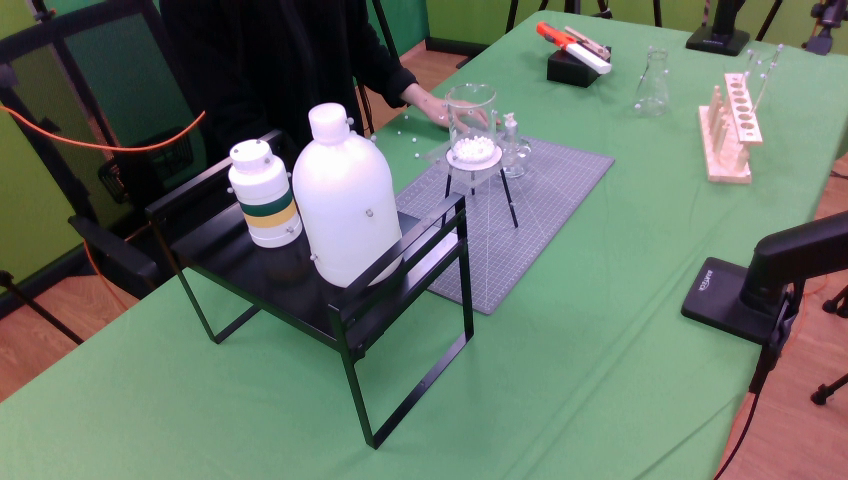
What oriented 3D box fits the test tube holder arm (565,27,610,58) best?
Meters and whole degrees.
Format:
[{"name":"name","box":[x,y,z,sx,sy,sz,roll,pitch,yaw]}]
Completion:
[{"name":"test tube holder arm","box":[0.369,-0.450,1.373,0.013,0.015,0.177,-39,41,10]}]

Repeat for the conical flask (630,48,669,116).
[{"name":"conical flask","box":[0.456,-0.317,1.205,0.075,0.122,0.075,-4,41,4]}]

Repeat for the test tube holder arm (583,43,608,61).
[{"name":"test tube holder arm","box":[0.379,-0.420,1.341,0.010,0.015,0.087,-39,41,10]}]

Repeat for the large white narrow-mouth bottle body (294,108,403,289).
[{"name":"large white narrow-mouth bottle body","box":[-0.082,-0.047,0.634,0.102,0.195,0.101,-4,40,3]}]

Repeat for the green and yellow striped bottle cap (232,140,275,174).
[{"name":"green and yellow striped bottle cap","box":[-0.192,-0.094,0.680,0.045,0.020,0.045,-5,39,5]}]

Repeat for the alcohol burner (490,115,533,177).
[{"name":"alcohol burner","box":[0.157,-0.173,1.083,0.078,0.119,0.077,-4,43,4]}]

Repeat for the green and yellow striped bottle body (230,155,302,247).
[{"name":"green and yellow striped bottle body","box":[-0.188,-0.055,0.714,0.063,0.120,0.063,-4,41,4]}]

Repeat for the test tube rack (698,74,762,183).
[{"name":"test tube rack","box":[0.547,-0.208,1.095,0.066,0.085,0.242,5,42,15]}]

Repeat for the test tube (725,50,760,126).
[{"name":"test tube","box":[0.570,-0.269,1.086,0.017,0.151,0.017,-1,45,2]}]

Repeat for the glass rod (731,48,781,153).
[{"name":"glass rod","box":[0.554,-0.228,1.014,0.008,0.200,0.008,1,44,-1]}]

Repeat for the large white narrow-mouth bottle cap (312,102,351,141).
[{"name":"large white narrow-mouth bottle cap","box":[-0.089,-0.114,0.579,0.038,0.024,0.037,-3,39,3]}]

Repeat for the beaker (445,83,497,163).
[{"name":"beaker","box":[0.073,-0.175,0.904,0.074,0.101,0.084,3,41,13]}]

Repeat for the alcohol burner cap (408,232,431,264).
[{"name":"alcohol burner cap","box":[-0.010,0.010,0.948,0.034,0.048,0.033,-7,38,6]}]

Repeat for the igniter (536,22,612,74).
[{"name":"igniter","box":[0.330,-0.439,1.366,0.057,0.025,0.274,-11,41,-20]}]

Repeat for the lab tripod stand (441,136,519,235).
[{"name":"lab tripod stand","box":[0.083,-0.086,0.976,0.148,0.132,0.147,-4,42,4]}]

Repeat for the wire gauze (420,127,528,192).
[{"name":"wire gauze","box":[0.076,-0.131,0.927,0.122,0.011,0.124,-34,49,-25]}]
